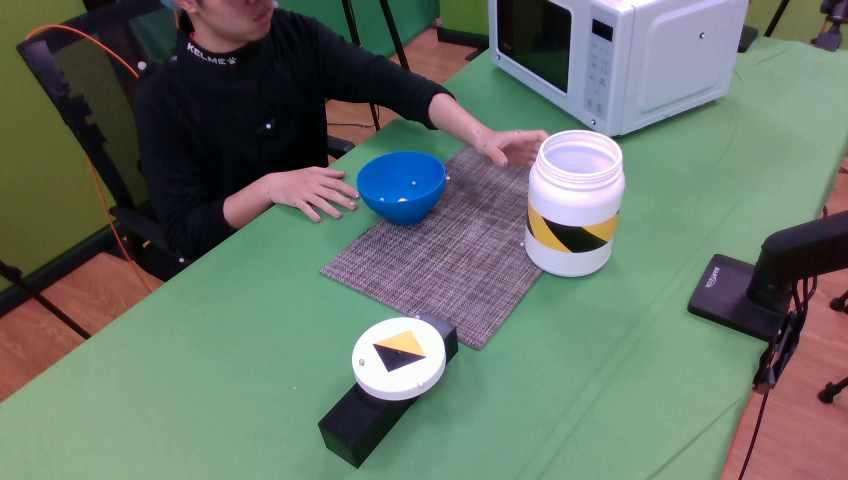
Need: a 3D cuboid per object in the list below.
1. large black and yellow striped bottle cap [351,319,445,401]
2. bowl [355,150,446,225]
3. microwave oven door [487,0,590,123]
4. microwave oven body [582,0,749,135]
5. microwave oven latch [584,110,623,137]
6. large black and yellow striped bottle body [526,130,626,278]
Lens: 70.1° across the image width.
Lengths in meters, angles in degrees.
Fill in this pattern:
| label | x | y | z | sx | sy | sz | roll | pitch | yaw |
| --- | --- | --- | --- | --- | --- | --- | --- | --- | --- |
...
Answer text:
| label | x | y | z | sx | sy | sz | roll | pitch | yaw |
| --- | --- | --- | --- | --- | --- | --- | --- | --- | --- |
| large black and yellow striped bottle cap | -0.031 | 0.143 | 0.735 | 0.115 | 0.019 | 0.114 | -3 | 40 | 3 |
| bowl | -0.035 | -0.078 | 1.017 | 0.151 | 0.077 | 0.150 | -4 | 40 | 4 |
| microwave oven door | 0.231 | -0.420 | 1.231 | 0.039 | 0.245 | 0.352 | -22 | 43 | -16 |
| microwave oven body | 0.382 | -0.444 | 1.246 | 0.327 | 0.261 | 0.437 | -22 | 42 | -16 |
| microwave oven latch | 0.337 | -0.222 | 1.142 | 0.030 | 0.029 | 0.078 | -21 | 42 | -14 |
| large black and yellow striped bottle body | 0.216 | -0.051 | 0.870 | 0.131 | 0.185 | 0.130 | -2 | 43 | 2 |
